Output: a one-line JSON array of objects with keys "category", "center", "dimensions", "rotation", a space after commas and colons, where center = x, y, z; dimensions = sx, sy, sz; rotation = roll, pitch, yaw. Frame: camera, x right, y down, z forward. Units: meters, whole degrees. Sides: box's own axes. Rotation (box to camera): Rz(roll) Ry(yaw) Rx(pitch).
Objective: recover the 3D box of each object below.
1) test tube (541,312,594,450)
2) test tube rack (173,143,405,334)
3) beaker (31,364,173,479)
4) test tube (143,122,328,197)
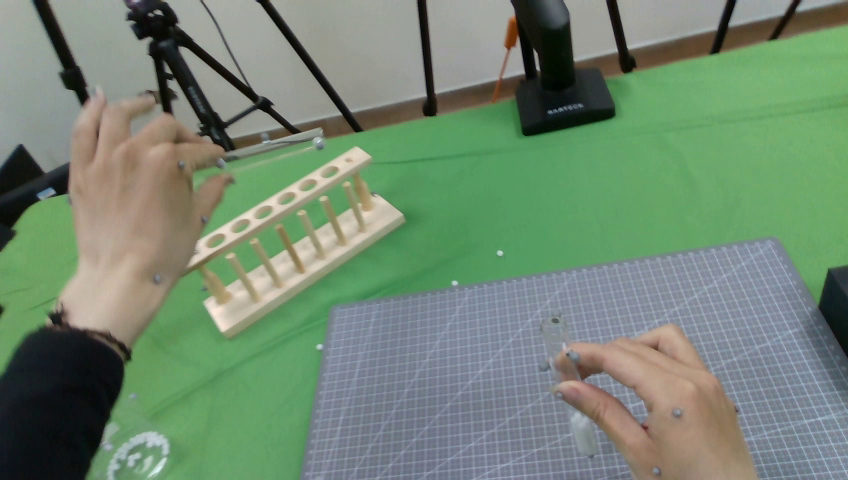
[{"category": "test tube", "center": [0.096, 0.098, 0.398], "dimensions": [0.017, 0.152, 0.017], "rotation": [-13, 42, 12]}, {"category": "test tube rack", "center": [-0.146, -0.006, 0.690], "dimensions": [0.242, 0.086, 0.066], "rotation": [-34, 44, -16]}, {"category": "beaker", "center": [-0.279, 0.169, 0.541], "dimensions": [0.073, 0.101, 0.083], "rotation": [11, 49, 29]}, {"category": "test tube", "center": [-0.149, -0.064, 0.481], "dimensions": [0.150, 0.017, 0.017], "rotation": [-20, 41, -6]}]
